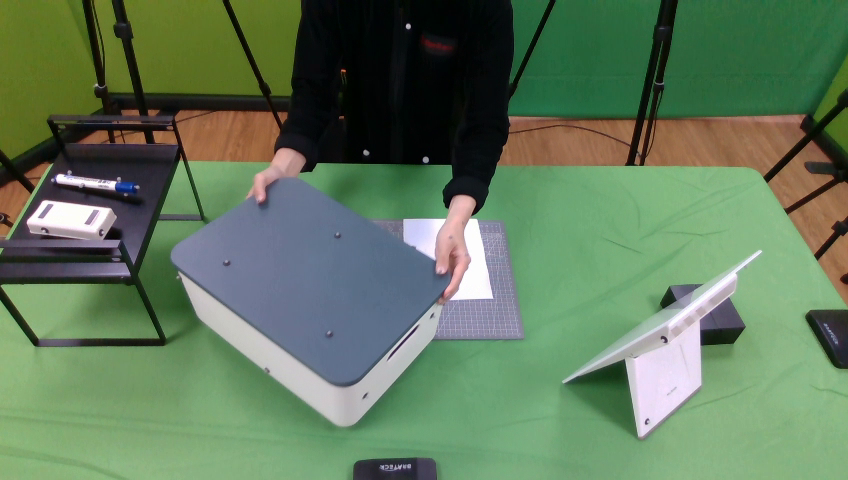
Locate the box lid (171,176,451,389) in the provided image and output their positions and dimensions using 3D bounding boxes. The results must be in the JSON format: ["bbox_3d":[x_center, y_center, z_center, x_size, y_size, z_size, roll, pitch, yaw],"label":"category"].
[{"bbox_3d":[-0.169,0.043,0.921,0.370,0.015,0.263,31,52,21],"label":"box lid"}]

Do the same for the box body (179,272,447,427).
[{"bbox_3d":[-0.176,0.093,0.976,0.362,0.161,0.254,31,51,21],"label":"box body"}]

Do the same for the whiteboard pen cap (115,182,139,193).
[{"bbox_3d":[-0.483,-0.086,0.984,0.033,0.018,0.018,7,46,10],"label":"whiteboard pen cap"}]

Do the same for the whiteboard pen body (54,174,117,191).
[{"bbox_3d":[-0.541,-0.093,0.993,0.140,0.017,0.017,7,46,9],"label":"whiteboard pen body"}]

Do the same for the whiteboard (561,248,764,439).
[{"bbox_3d":[0.386,0.176,0.905,0.217,0.306,0.143,-26,72,-27],"label":"whiteboard"}]

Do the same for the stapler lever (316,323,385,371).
[{"bbox_3d":[-0.120,0.171,0.979,0.118,0.040,0.027,21,49,14],"label":"stapler lever"}]

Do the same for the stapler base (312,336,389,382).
[{"bbox_3d":[-0.123,0.189,0.997,0.130,0.024,0.041,20,49,16],"label":"stapler base"}]

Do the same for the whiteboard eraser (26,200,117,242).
[{"bbox_3d":[-0.532,-0.026,0.919,0.113,0.042,0.055,7,45,3],"label":"whiteboard eraser"}]

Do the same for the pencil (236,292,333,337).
[{"bbox_3d":[-0.244,0.131,1.056,0.194,0.012,0.012,22,49,12],"label":"pencil"}]
